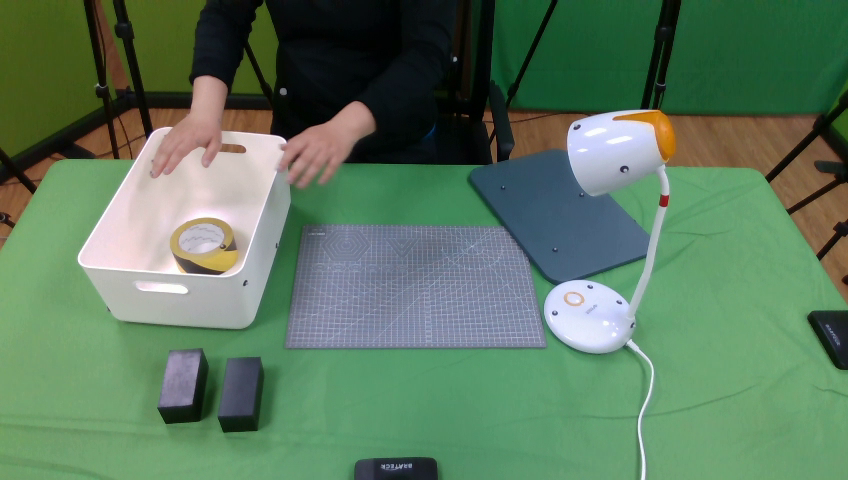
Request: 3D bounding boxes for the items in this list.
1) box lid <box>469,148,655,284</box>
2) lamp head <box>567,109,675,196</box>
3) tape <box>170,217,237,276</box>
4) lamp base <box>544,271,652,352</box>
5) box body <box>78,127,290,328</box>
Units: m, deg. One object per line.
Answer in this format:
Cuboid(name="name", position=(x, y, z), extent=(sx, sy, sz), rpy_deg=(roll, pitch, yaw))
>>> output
Cuboid(name="box lid", position=(0.285, -0.064, 1.289), extent=(0.263, 0.015, 0.369), rpy_deg=(-16, 49, -19))
Cuboid(name="lamp head", position=(0.272, -0.123, 0.818), extent=(0.122, 0.113, 0.112), rpy_deg=(-9, 35, 37))
Cuboid(name="tape", position=(-0.408, 0.014, 1.124), extent=(0.117, 0.053, 0.116), rpy_deg=(2, 46, -2))
Cuboid(name="lamp base", position=(0.310, 0.086, 1.029), extent=(0.178, 0.181, 0.160), rpy_deg=(32, 52, 21))
Cuboid(name="box body", position=(-0.400, -0.027, 1.095), extent=(0.254, 0.161, 0.362), rpy_deg=(4, 46, 0))
